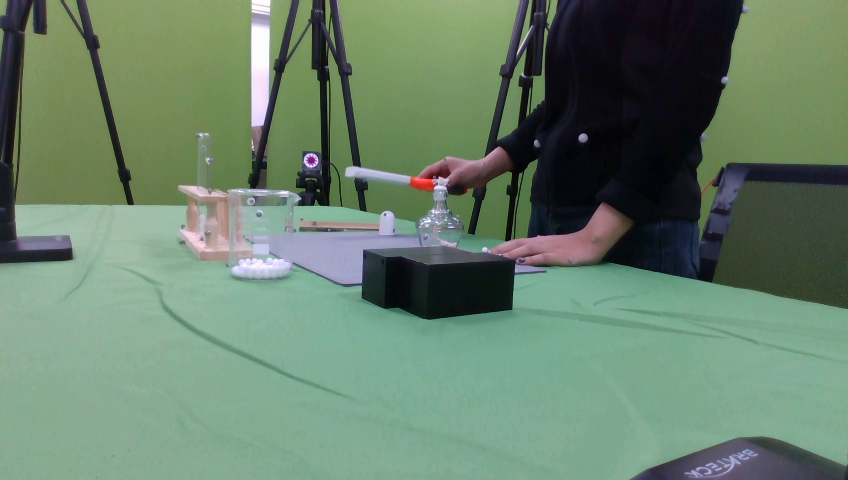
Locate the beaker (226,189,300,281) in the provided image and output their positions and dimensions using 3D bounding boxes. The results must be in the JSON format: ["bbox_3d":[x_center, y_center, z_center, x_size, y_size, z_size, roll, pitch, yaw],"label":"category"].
[{"bbox_3d":[-0.184,-0.007,0.694,0.084,0.100,0.073,-1,8,-29],"label":"beaker"}]

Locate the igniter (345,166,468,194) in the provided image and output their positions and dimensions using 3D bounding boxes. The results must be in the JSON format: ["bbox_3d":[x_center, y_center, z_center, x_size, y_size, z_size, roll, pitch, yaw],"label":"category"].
[{"bbox_3d":[-0.027,-0.116,1.186,0.278,0.025,0.057,5,1,-37],"label":"igniter"}]

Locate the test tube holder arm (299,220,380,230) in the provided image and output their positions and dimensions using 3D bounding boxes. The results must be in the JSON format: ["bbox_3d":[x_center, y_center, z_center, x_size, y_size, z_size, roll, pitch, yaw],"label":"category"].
[{"bbox_3d":[-0.153,-0.028,1.174,0.179,0.015,0.013,1,-27,-21],"label":"test tube holder arm"}]

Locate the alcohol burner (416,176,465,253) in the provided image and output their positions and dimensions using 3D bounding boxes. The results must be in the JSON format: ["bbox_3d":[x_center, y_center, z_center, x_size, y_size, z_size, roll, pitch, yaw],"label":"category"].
[{"bbox_3d":[0.025,-0.040,0.935,0.078,0.119,0.078,1,6,0],"label":"alcohol burner"}]

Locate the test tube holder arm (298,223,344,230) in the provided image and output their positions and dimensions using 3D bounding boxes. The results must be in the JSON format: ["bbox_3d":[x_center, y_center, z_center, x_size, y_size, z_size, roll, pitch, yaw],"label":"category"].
[{"bbox_3d":[-0.197,-0.026,1.163,0.088,0.015,0.010,0,-27,-20],"label":"test tube holder arm"}]

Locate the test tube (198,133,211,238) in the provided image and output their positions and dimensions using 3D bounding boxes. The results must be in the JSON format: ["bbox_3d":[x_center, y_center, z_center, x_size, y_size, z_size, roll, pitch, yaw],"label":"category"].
[{"bbox_3d":[-0.316,-0.078,0.871,0.017,0.150,0.017,2,3,0],"label":"test tube"}]

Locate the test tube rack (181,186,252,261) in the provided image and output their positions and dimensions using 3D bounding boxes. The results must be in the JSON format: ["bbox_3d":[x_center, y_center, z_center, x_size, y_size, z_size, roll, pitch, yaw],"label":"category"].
[{"bbox_3d":[-0.312,-0.031,0.893,0.067,0.085,0.241,-1,8,-27],"label":"test tube rack"}]

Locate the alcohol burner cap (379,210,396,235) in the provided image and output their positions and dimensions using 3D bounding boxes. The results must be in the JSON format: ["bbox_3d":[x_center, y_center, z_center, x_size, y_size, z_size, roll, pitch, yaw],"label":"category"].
[{"bbox_3d":[-0.067,-0.033,1.130,0.034,0.048,0.034,2,8,0],"label":"alcohol burner cap"}]
